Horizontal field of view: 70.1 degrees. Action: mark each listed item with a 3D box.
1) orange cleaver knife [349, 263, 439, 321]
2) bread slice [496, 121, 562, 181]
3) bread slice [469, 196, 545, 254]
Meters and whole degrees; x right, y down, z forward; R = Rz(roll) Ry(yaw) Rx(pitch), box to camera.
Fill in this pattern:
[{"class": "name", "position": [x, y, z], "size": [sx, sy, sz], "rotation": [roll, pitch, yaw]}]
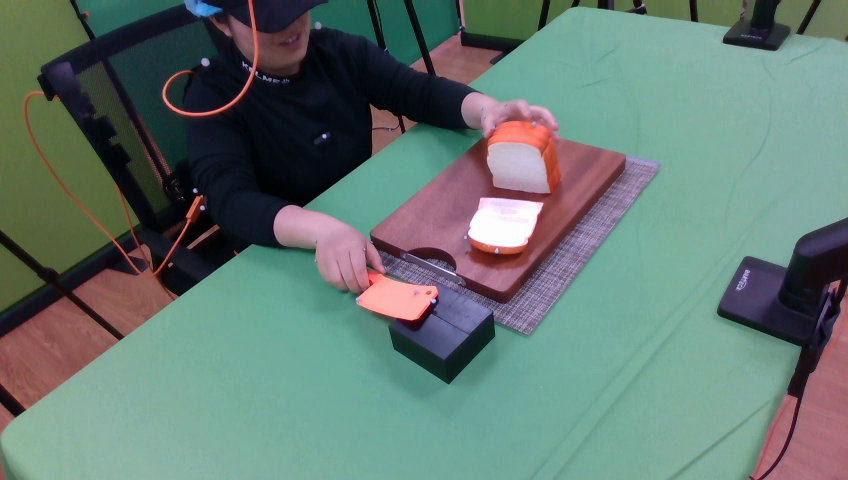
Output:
[{"class": "orange cleaver knife", "position": [-0.060, 0.073, 0.877], "size": [0.077, 0.012, 0.209], "rotation": [-39, 32, -27]}, {"class": "bread slice", "position": [0.171, -0.145, 0.999], "size": [0.106, 0.135, 0.018], "rotation": [10, 61, 21]}, {"class": "bread slice", "position": [0.125, -0.024, 0.943], "size": [0.104, 0.019, 0.131], "rotation": [8, 39, 18]}]
